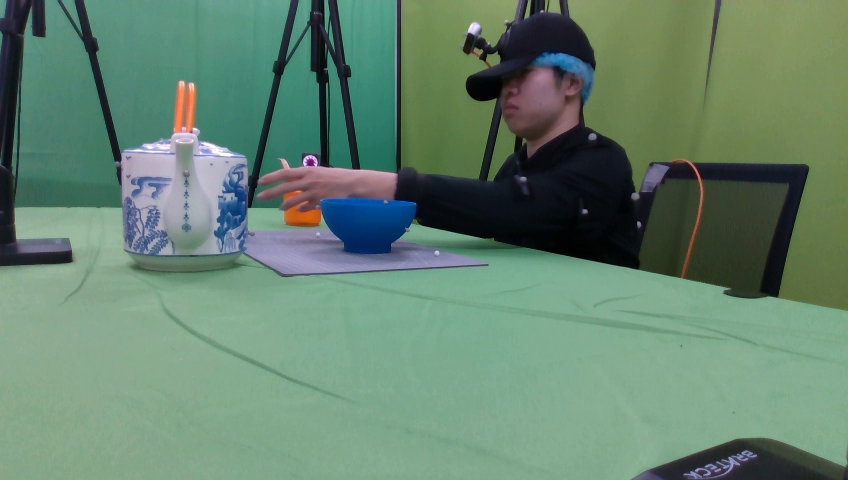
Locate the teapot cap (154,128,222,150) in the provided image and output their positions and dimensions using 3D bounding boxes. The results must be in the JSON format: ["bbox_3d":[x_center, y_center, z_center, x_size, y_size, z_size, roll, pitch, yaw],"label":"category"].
[{"bbox_3d":[-0.294,-0.117,0.754,0.085,0.044,0.085,4,9,0],"label":"teapot cap"}]

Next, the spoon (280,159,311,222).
[{"bbox_3d":[-0.285,-0.111,1.320,0.042,0.193,0.021,-2,-36,-31],"label":"spoon"}]

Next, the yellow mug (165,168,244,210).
[{"bbox_3d":[-0.370,-0.086,1.027,0.131,0.064,0.100,5,7,4],"label":"yellow mug"}]

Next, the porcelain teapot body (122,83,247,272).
[{"bbox_3d":[-0.286,-0.075,0.733,0.146,0.225,0.204,0,8,-24],"label":"porcelain teapot body"}]

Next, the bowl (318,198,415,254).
[{"bbox_3d":[-0.089,-0.022,0.941,0.151,0.077,0.151,2,7,0],"label":"bowl"}]
